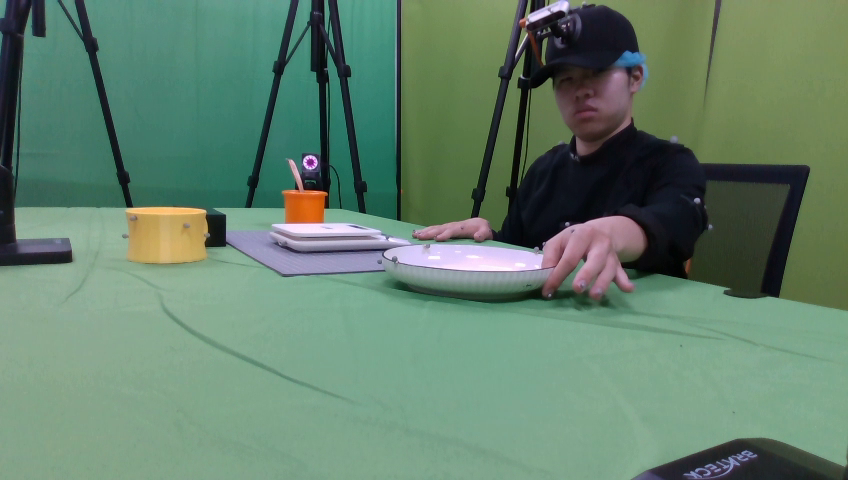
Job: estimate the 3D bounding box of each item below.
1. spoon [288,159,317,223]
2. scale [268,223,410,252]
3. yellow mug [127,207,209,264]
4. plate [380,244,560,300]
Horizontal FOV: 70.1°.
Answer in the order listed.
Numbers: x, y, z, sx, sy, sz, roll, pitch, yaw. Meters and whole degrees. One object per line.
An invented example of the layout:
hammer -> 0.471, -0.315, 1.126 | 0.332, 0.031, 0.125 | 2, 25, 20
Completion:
spoon -> -0.259, -0.103, 1.268 | 0.042, 0.193, 0.021 | 3, -39, -33
scale -> -0.138, -0.006, 0.979 | 0.202, 0.031, 0.148 | -1, 8, -30
yellow mug -> -0.339, -0.009, 0.827 | 0.100, 0.064, 0.131 | 5, 7, 17
plate -> 0.053, 0.036, 0.708 | 0.209, 0.038, 0.209 | 2, 7, 0
